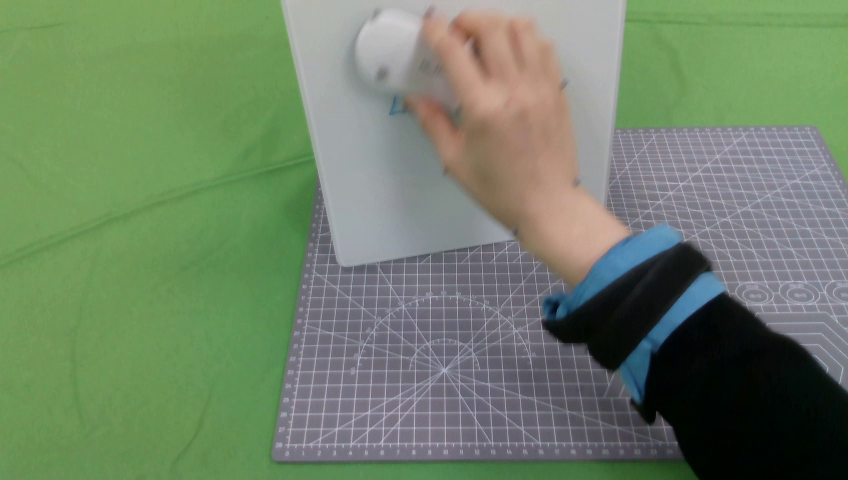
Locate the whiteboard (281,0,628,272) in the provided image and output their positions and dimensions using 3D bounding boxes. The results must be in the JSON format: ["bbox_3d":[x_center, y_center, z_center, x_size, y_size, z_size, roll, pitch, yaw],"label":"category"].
[{"bbox_3d":[0.017,-0.156,0.445,0.217,0.308,0.142,-9,34,-4],"label":"whiteboard"}]

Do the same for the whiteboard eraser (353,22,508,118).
[{"bbox_3d":[0.005,-0.107,0.384,0.102,0.041,0.018,13,31,-17],"label":"whiteboard eraser"}]
